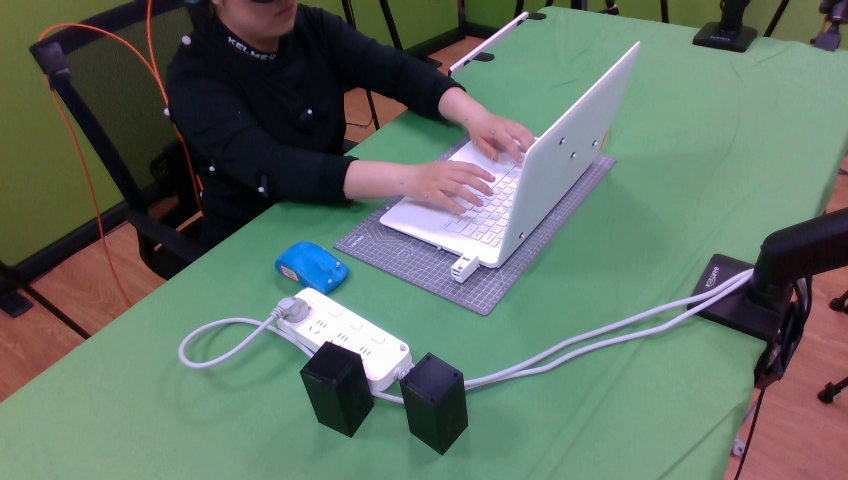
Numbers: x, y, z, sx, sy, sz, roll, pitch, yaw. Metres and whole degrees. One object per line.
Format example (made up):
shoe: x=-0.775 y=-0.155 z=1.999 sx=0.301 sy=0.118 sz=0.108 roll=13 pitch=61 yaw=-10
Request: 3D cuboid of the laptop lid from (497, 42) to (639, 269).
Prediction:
laptop lid: x=0.221 y=-0.130 z=0.912 sx=0.013 sy=0.242 sz=0.357 roll=31 pitch=51 yaw=21

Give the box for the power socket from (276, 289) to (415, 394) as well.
power socket: x=-0.113 y=0.132 z=0.821 sx=0.225 sy=0.033 sz=0.072 roll=25 pitch=50 yaw=33

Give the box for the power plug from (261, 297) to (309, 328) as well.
power plug: x=-0.192 y=0.107 z=0.831 sx=0.073 sy=0.053 sz=0.035 roll=-32 pitch=43 yaw=-25

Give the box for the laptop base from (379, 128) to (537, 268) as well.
laptop base: x=0.118 y=-0.088 z=1.058 sx=0.233 sy=0.023 sz=0.355 roll=19 pitch=47 yaw=32

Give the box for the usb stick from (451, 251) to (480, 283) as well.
usb stick: x=0.066 y=0.036 z=0.899 sx=0.021 sy=0.027 sz=0.059 roll=23 pitch=46 yaw=32

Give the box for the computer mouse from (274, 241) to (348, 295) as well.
computer mouse: x=-0.176 y=0.040 z=0.936 sx=0.116 sy=0.041 sz=0.063 roll=27 pitch=48 yaw=27
